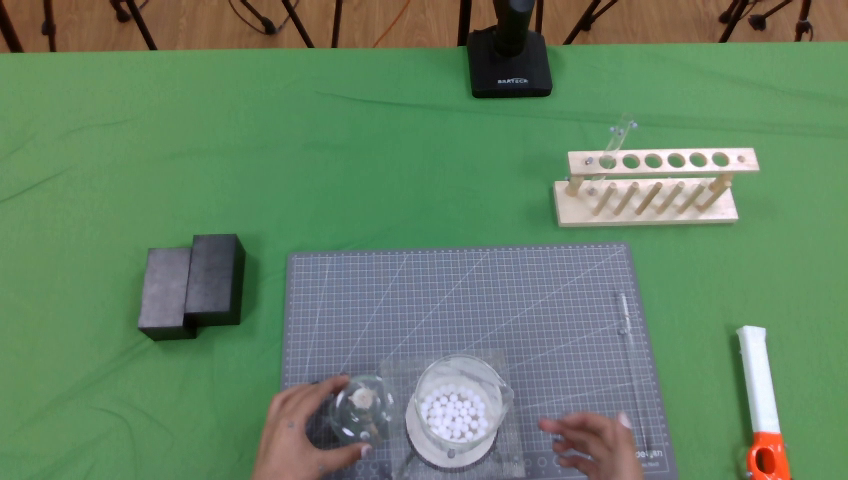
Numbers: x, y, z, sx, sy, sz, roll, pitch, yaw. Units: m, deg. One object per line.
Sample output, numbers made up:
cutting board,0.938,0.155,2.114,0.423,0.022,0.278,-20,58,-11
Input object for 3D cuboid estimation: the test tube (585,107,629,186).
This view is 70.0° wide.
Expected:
test tube,0.227,-0.113,0.760,0.017,0.151,0.017,1,62,-1

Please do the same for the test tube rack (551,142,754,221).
test tube rack,0.299,-0.076,0.801,0.242,0.086,0.066,-2,65,-3

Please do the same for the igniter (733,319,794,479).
igniter,0.393,0.226,0.700,0.057,0.025,0.274,9,65,-10

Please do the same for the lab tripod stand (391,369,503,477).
lab tripod stand,0.021,0.193,0.635,0.148,0.132,0.147,0,65,0

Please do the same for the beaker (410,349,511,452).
beaker,0.029,0.144,0.532,0.084,0.101,0.073,-6,65,-5

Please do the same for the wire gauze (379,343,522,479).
wire gauze,0.023,0.162,0.577,0.125,0.011,0.120,-5,64,-3

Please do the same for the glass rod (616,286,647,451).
glass rod,0.251,0.151,0.734,0.008,0.008,0.198,-1,68,-3

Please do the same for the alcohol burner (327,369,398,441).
alcohol burner,-0.066,0.173,0.650,0.078,0.120,0.077,1,63,-2
